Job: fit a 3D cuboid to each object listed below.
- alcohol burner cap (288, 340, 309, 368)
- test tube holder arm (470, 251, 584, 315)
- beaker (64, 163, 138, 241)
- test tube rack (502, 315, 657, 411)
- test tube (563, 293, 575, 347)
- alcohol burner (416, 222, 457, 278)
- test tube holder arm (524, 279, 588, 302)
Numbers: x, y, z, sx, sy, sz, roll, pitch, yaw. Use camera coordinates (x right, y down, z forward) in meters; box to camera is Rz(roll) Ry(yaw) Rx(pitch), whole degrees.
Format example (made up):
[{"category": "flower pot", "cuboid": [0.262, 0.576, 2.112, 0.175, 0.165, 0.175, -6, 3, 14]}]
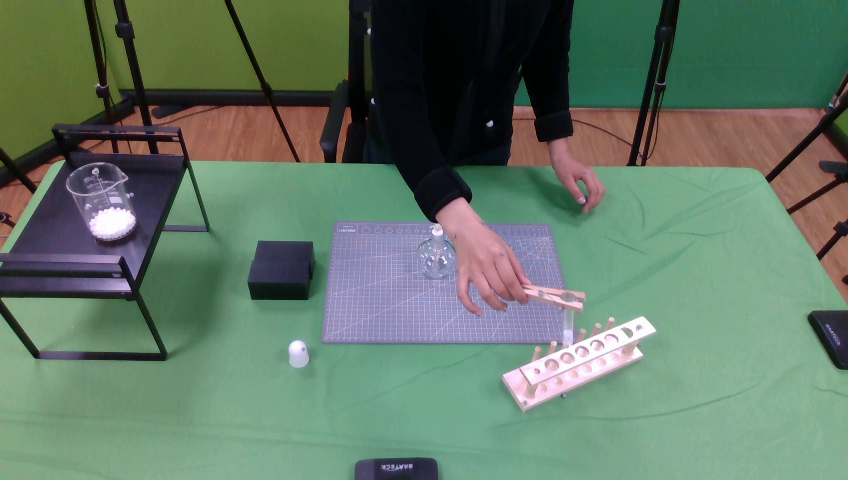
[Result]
[{"category": "alcohol burner cap", "cuboid": [-0.206, 0.183, 0.991, 0.034, 0.048, 0.033, 2, 47, -2]}, {"category": "test tube holder arm", "cuboid": [0.138, 0.057, 0.837, 0.177, 0.015, 0.013, 27, 93, 28]}, {"category": "beaker", "cuboid": [-0.477, -0.055, 0.910, 0.084, 0.101, 0.073, -9, 48, -13]}, {"category": "test tube rack", "cuboid": [0.253, 0.186, 0.989, 0.242, 0.085, 0.066, -18, 50, -20]}, {"category": "test tube", "cuboid": [0.207, 0.117, 0.865, 0.017, 0.151, 0.017, -6, 55, 9]}, {"category": "alcohol burner", "cuboid": [0.024, 0.013, 1.116, 0.078, 0.120, 0.077, 1, 45, -1]}, {"category": "test tube holder arm", "cuboid": [0.176, 0.067, 0.817, 0.087, 0.015, 0.010, 14, 88, 28]}]
